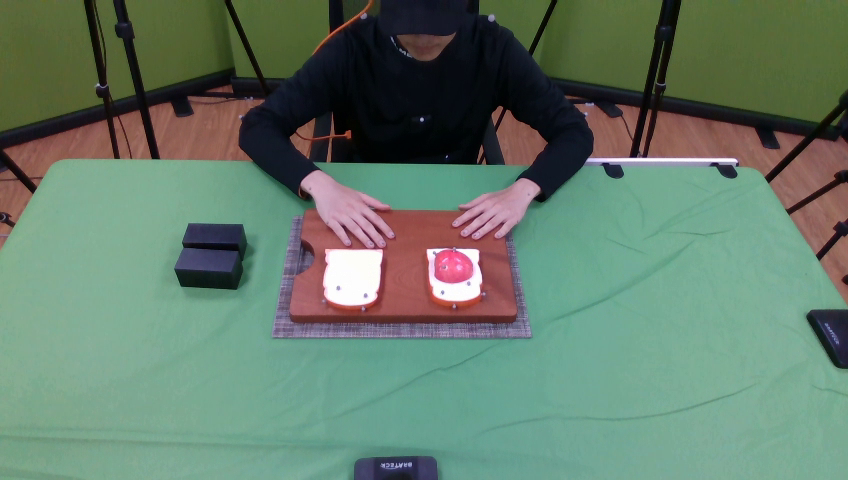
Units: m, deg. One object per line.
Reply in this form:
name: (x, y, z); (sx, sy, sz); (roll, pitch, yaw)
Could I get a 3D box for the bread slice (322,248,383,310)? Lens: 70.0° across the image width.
bread slice: (-0.127, 0.068, 1.083); (0.107, 0.018, 0.133); (-1, 47, -4)

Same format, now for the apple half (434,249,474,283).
apple half: (0.054, 0.039, 1.092); (0.081, 0.033, 0.081); (1, 47, -1)

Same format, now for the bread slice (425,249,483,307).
bread slice: (0.058, 0.065, 1.100); (0.105, 0.019, 0.130); (-1, 46, -3)
